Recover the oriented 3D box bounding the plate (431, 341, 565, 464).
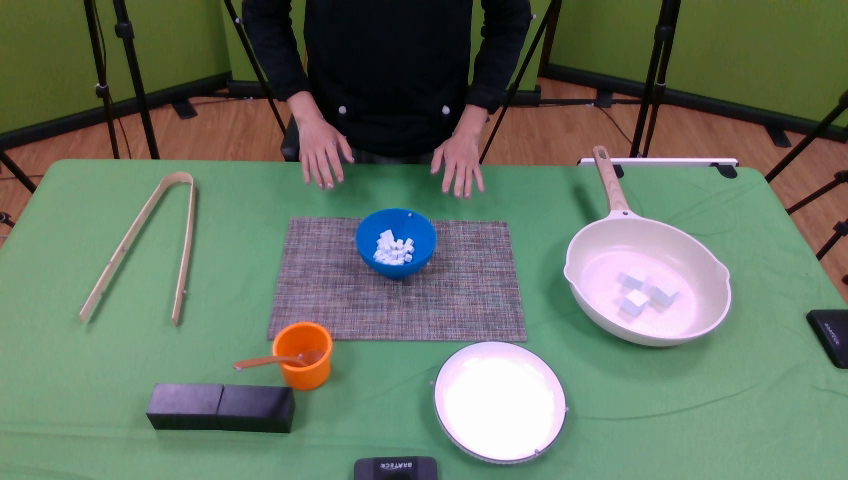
[{"bbox_3d":[0.114,0.255,0.951,0.208,0.039,0.206,3,46,-2],"label":"plate"}]

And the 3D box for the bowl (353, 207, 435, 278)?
[{"bbox_3d":[-0.056,0.018,1.132,0.151,0.077,0.150,2,46,-2],"label":"bowl"}]

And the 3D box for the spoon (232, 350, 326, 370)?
[{"bbox_3d":[-0.216,0.182,0.919,0.041,0.194,0.021,43,102,27],"label":"spoon"}]

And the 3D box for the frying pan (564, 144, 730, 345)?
[{"bbox_3d":[0.396,-0.008,1.179,0.307,0.103,0.484,0,55,-5],"label":"frying pan"}]

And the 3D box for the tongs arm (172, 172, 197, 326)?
[{"bbox_3d":[-0.459,0.003,1.155,0.028,0.028,0.385,-7,47,-8],"label":"tongs arm"}]

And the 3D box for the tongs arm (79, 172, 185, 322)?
[{"bbox_3d":[-0.540,-0.002,1.147,0.051,0.026,0.382,5,45,-1],"label":"tongs arm"}]
